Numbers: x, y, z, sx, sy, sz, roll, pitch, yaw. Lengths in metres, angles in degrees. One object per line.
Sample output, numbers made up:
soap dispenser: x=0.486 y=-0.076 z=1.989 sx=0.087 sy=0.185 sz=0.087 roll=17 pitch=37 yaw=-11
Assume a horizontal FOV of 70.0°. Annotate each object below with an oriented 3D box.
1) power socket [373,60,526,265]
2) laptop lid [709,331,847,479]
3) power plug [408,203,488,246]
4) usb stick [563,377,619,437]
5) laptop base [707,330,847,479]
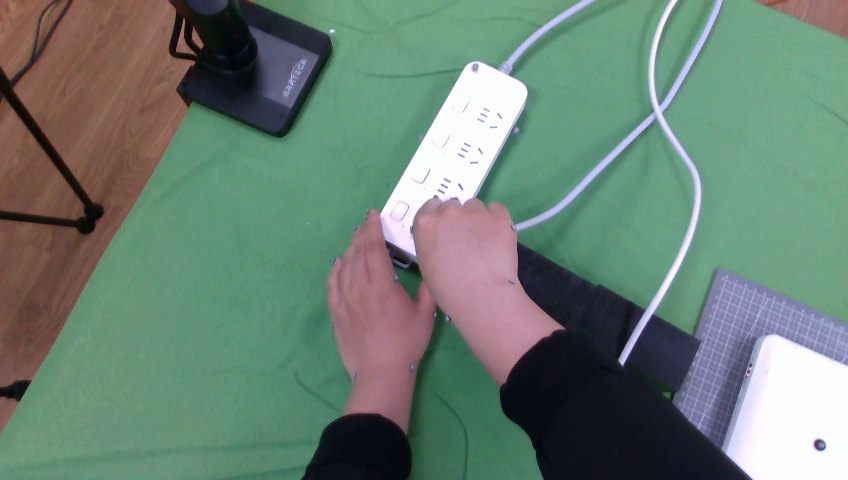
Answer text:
power socket: x=0.027 y=-0.079 z=0.596 sx=0.072 sy=0.033 sz=0.226 roll=28 pitch=77 yaw=4
laptop lid: x=0.425 y=0.255 z=0.529 sx=0.356 sy=0.013 sz=0.241 roll=26 pitch=79 yaw=4
power plug: x=0.017 y=-0.004 z=0.559 sx=0.072 sy=0.053 sz=0.035 roll=41 pitch=75 yaw=2
usb stick: x=0.144 y=0.151 z=0.530 sx=0.027 sy=0.021 sz=0.059 roll=36 pitch=104 yaw=29
laptop base: x=0.426 y=0.256 z=0.541 sx=0.354 sy=0.023 sz=0.235 roll=24 pitch=80 yaw=3
